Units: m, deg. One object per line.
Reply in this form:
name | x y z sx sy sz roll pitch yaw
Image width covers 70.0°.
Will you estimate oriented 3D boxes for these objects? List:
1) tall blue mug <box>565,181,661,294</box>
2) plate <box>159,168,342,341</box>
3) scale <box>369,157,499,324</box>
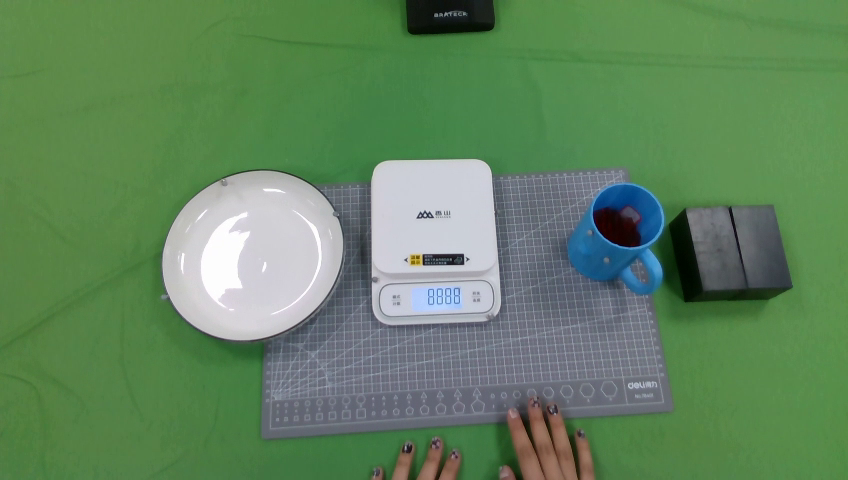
tall blue mug | 0.220 0.000 0.674 0.107 0.108 0.077 32 72 11
plate | -0.196 0.017 0.703 0.209 0.038 0.207 0 70 1
scale | 0.009 -0.003 0.715 0.149 0.032 0.199 -2 71 -1
